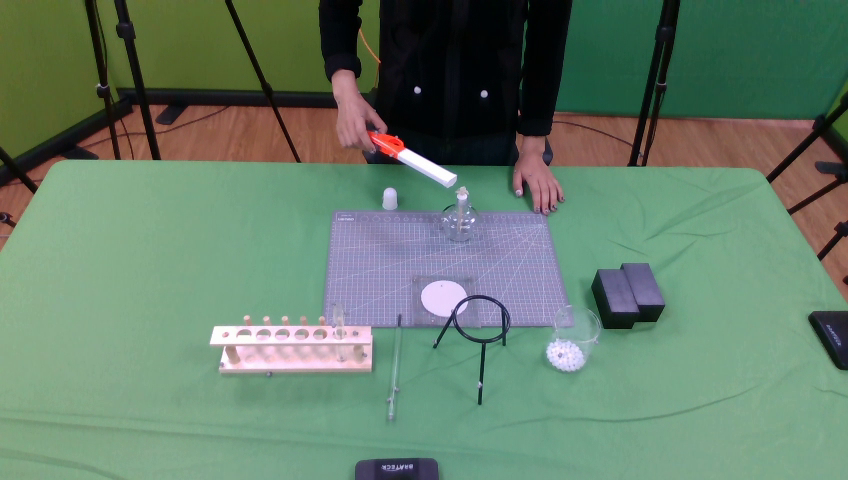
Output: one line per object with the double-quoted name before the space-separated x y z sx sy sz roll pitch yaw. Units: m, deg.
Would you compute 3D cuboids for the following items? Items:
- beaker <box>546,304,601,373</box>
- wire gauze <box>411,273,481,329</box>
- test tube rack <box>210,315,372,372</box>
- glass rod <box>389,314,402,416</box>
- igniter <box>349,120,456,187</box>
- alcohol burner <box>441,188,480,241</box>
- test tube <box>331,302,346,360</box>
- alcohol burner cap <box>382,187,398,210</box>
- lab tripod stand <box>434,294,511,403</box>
"beaker" 0.242 0.167 1.001 0.084 0.101 0.073 -32 55 -28
"wire gauze" 0.038 0.108 1.103 0.125 0.011 0.120 2 47 -3
"test tube rack" -0.208 0.163 0.982 0.242 0.085 0.066 1 46 -4
"glass rod" -0.048 0.203 1.008 0.008 0.008 0.198 4 45 0
"igniter" -0.051 -0.175 1.195 0.275 0.025 0.057 32 50 28
"alcohol burner" 0.073 -0.055 1.189 0.078 0.120 0.077 1 48 -1
"test tube" -0.132 0.144 0.938 0.017 0.151 0.017 2 49 -3
"alcohol burner cap" -0.072 -0.090 1.266 0.034 0.048 0.033 2 47 -2
"lab tripod stand" 0.087 0.164 0.969 0.148 0.132 0.147 3 47 -3
